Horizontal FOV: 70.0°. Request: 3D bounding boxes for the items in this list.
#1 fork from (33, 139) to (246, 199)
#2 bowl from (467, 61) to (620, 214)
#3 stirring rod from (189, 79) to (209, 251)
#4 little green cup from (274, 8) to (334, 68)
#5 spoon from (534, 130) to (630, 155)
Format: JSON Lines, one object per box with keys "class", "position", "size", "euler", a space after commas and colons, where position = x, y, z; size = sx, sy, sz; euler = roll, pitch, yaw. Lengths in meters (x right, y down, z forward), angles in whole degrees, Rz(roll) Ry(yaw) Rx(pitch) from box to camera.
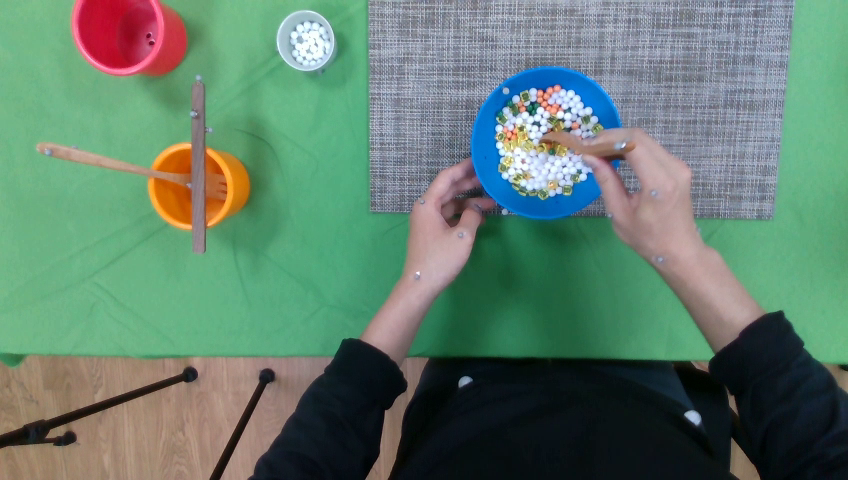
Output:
{"class": "fork", "position": [-0.286, -0.073, 0.631], "size": [0.209, 0.018, 0.028], "euler": [11, 106, -42]}
{"class": "bowl", "position": [0.121, -0.105, 0.635], "size": [0.151, 0.076, 0.151], "euler": [1, 99, 4]}
{"class": "stirring rod", "position": [-0.232, -0.075, 0.625], "size": [0.014, 0.006, 0.176], "euler": [2, 100, 5]}
{"class": "little green cup", "position": [-0.127, -0.215, 0.654], "size": [0.061, 0.038, 0.062], "euler": [1, 100, 4]}
{"class": "spoon", "position": [0.143, -0.087, 0.553], "size": [0.042, 0.192, 0.022], "euler": [12, 101, -9]}
